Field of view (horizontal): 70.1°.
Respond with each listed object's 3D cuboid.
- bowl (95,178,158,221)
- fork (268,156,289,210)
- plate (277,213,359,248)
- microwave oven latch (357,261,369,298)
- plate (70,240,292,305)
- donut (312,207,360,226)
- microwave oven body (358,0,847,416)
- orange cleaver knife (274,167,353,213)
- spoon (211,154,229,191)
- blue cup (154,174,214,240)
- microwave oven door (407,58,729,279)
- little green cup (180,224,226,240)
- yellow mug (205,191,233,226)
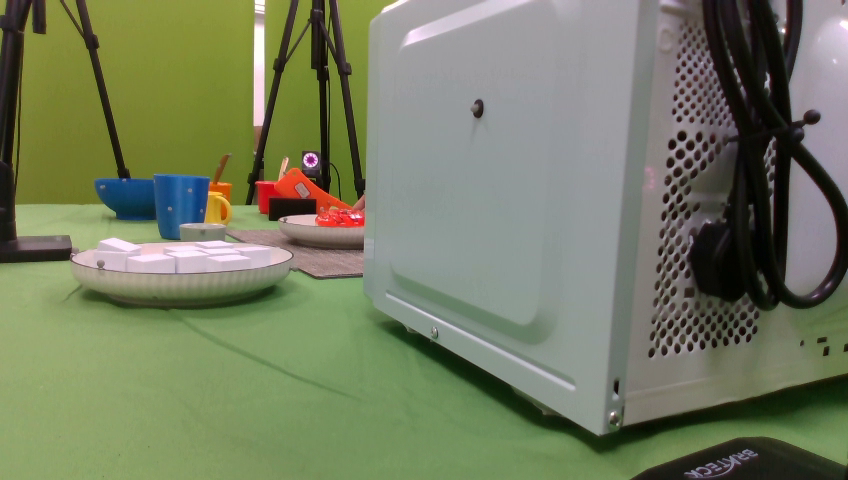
[{"bbox_3d":[-0.576,-0.081,1.217,0.151,0.077,0.151,3,8,0],"label":"bowl"},{"bbox_3d":[-0.360,-0.144,1.508,0.028,0.018,0.207,1,49,0],"label":"fork"},{"bbox_3d":[-0.135,-0.017,0.992,0.209,0.038,0.209,2,8,0],"label":"plate"},{"bbox_3d":[-0.019,0.033,0.530,0.079,0.029,0.030,-1,7,-26],"label":"microwave oven latch"},{"bbox_3d":[-0.242,0.031,0.618,0.208,0.039,0.207,2,8,0],"label":"plate"},{"bbox_3d":[-0.134,-0.029,0.996,0.099,0.048,0.099,3,10,0],"label":"donut"},{"bbox_3d":[0.211,-0.047,0.474,0.444,0.260,0.324,-1,7,-28],"label":"microwave oven body"},{"bbox_3d":[-0.238,-0.091,1.381,0.212,0.077,0.012,31,0,-19],"label":"orange cleaver knife"},{"bbox_3d":[-0.431,-0.115,1.253,0.042,0.193,0.021,-3,54,-33],"label":"spoon"},{"bbox_3d":[-0.390,-0.053,0.978,0.093,0.100,0.092,3,6,0],"label":"blue cup"},{"bbox_3d":[0.162,-0.084,0.710,0.356,0.243,0.039,3,8,2],"label":"microwave oven door"},{"bbox_3d":[-0.308,-0.001,0.846,0.061,0.038,0.061,2,8,0],"label":"little green cup"},{"bbox_3d":[-0.415,-0.057,1.132,0.130,0.064,0.100,6,8,16],"label":"yellow mug"}]
